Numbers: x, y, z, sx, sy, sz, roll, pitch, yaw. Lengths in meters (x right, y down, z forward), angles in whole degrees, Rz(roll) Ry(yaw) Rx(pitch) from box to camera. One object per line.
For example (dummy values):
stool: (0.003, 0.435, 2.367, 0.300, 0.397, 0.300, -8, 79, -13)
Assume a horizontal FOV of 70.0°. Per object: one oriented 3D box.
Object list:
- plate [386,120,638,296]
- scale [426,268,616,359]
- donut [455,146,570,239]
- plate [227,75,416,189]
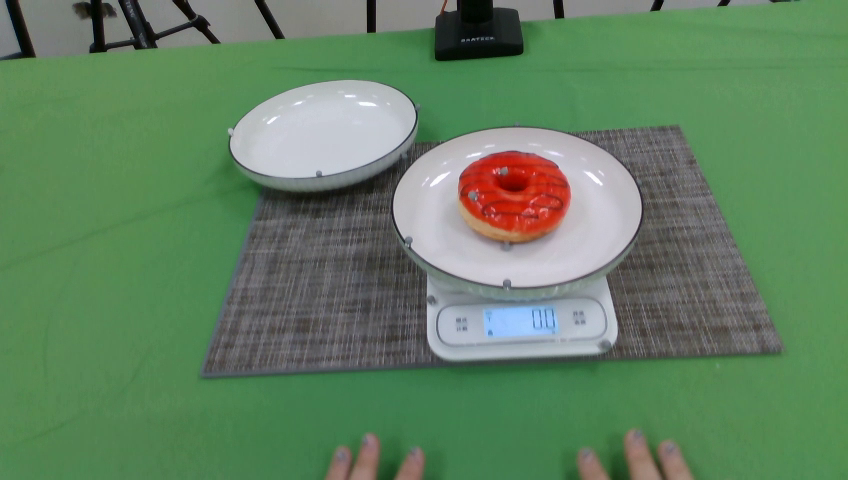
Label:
plate: (0.073, -0.028, 0.518, 0.207, 0.039, 0.205, -3, 45, 3)
scale: (0.076, 0.011, 0.525, 0.148, 0.032, 0.199, -3, 45, 4)
donut: (0.074, -0.040, 0.514, 0.099, 0.049, 0.098, -1, 46, 2)
plate: (-0.111, -0.119, 0.678, 0.209, 0.038, 0.207, -4, 43, 4)
